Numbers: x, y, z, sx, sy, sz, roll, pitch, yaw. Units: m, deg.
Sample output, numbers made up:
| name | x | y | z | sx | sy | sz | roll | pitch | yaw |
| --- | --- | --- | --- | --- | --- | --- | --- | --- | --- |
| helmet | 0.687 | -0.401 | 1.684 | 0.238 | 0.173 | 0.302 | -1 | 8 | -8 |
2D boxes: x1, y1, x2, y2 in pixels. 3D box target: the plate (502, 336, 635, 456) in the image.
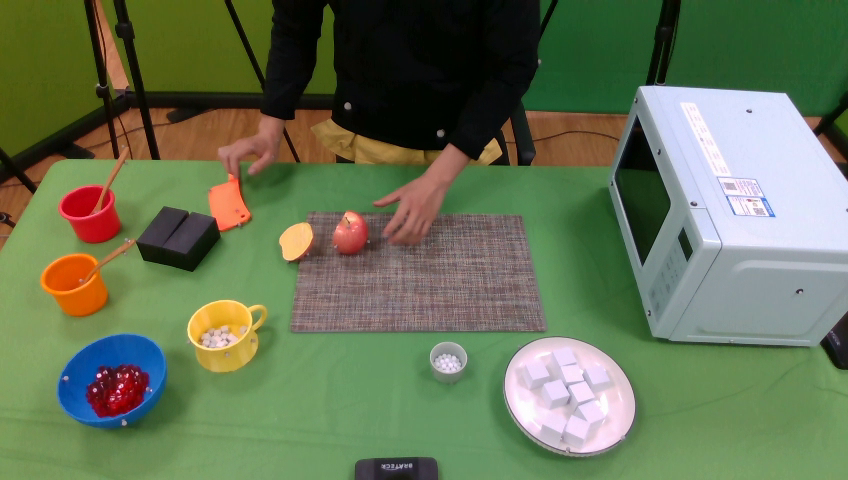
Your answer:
| name | x | y | z | sx | sy | sz | roll | pitch | yaw |
| --- | --- | --- | --- | --- | --- | --- | --- | --- | --- |
| plate | 0.225 | 0.248 | 0.964 | 0.208 | 0.039 | 0.206 | 2 | 46 | -2 |

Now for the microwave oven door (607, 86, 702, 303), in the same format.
| name | x | y | z | sx | sy | sz | roll | pitch | yaw |
| --- | --- | --- | --- | --- | --- | --- | --- | --- | --- |
| microwave oven door | 0.423 | -0.094 | 1.141 | 0.039 | 0.245 | 0.353 | 2 | 46 | -1 |

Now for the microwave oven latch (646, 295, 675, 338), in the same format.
| name | x | y | z | sx | sy | sz | roll | pitch | yaw |
| --- | --- | --- | --- | --- | --- | --- | --- | --- | --- |
| microwave oven latch | 0.412 | 0.134 | 1.061 | 0.030 | 0.029 | 0.078 | 4 | 45 | 1 |

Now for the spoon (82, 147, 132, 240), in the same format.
| name | x | y | z | sx | sy | sz | roll | pitch | yaw |
| --- | --- | --- | --- | --- | --- | --- | --- | --- | --- |
| spoon | -0.602 | -0.089 | 1.156 | 0.041 | 0.022 | 0.193 | 27 | 95 | 20 |

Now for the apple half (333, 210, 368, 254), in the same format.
| name | x | y | z | sx | sy | sz | roll | pitch | yaw |
| --- | --- | --- | --- | --- | --- | --- | --- | --- | --- |
| apple half | -0.136 | -0.010 | 1.158 | 0.053 | 0.075 | 0.080 | 17 | 43 | 7 |

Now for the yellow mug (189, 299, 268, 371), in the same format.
| name | x | y | z | sx | sy | sz | roll | pitch | yaw |
| --- | --- | --- | --- | --- | --- | --- | --- | --- | --- |
| yellow mug | -0.316 | 0.148 | 1.002 | 0.131 | 0.064 | 0.099 | -33 | 56 | -31 |

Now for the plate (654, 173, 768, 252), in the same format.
| name | x | y | z | sx | sy | sz | roll | pitch | yaw |
| --- | --- | --- | --- | --- | --- | --- | --- | --- | --- |
| plate | 0.555 | -0.049 | 1.187 | 0.209 | 0.038 | 0.208 | 1 | 47 | -1 |

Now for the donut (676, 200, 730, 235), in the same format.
| name | x | y | z | sx | sy | sz | roll | pitch | yaw |
| --- | --- | --- | --- | --- | --- | --- | --- | --- | --- |
| donut | 0.538 | -0.045 | 1.170 | 0.099 | 0.048 | 0.098 | 3 | 32 | -2 |

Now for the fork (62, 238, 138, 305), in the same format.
| name | x | y | z | sx | sy | sz | roll | pitch | yaw |
| --- | --- | --- | --- | --- | --- | --- | --- | --- | --- |
| fork | -0.547 | 0.053 | 1.018 | 0.207 | 0.019 | 0.028 | -36 | 41 | 23 |

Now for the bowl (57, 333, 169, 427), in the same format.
| name | x | y | z | sx | sy | sz | roll | pitch | yaw |
| --- | --- | --- | --- | --- | --- | --- | --- | --- | --- |
| bowl | -0.455 | 0.223 | 0.912 | 0.151 | 0.077 | 0.150 | 3 | 45 | -2 |

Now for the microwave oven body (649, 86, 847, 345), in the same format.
| name | x | y | z | sx | sy | sz | roll | pitch | yaw |
| --- | --- | --- | --- | --- | --- | --- | --- | --- | --- |
| microwave oven body | 0.568 | -0.053 | 1.118 | 0.326 | 0.261 | 0.439 | 2 | 45 | -1 |

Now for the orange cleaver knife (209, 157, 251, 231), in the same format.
| name | x | y | z | sx | sy | sz | roll | pitch | yaw |
| --- | --- | --- | --- | --- | --- | --- | --- | --- | --- |
| orange cleaver knife | -0.409 | -0.099 | 1.265 | 0.077 | 0.012 | 0.210 | -14 | 50 | -9 |

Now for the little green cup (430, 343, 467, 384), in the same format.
| name | x | y | z | sx | sy | sz | roll | pitch | yaw |
| --- | --- | --- | --- | --- | --- | --- | --- | --- | --- |
| little green cup | 0.039 | 0.203 | 0.994 | 0.061 | 0.039 | 0.061 | 2 | 46 | -2 |

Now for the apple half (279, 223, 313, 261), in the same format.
| name | x | y | z | sx | sy | sz | roll | pitch | yaw |
| --- | --- | --- | --- | --- | --- | --- | --- | --- | --- |
| apple half | -0.237 | 0.007 | 1.157 | 0.081 | 0.033 | 0.081 | -14 | 58 | 23 |
